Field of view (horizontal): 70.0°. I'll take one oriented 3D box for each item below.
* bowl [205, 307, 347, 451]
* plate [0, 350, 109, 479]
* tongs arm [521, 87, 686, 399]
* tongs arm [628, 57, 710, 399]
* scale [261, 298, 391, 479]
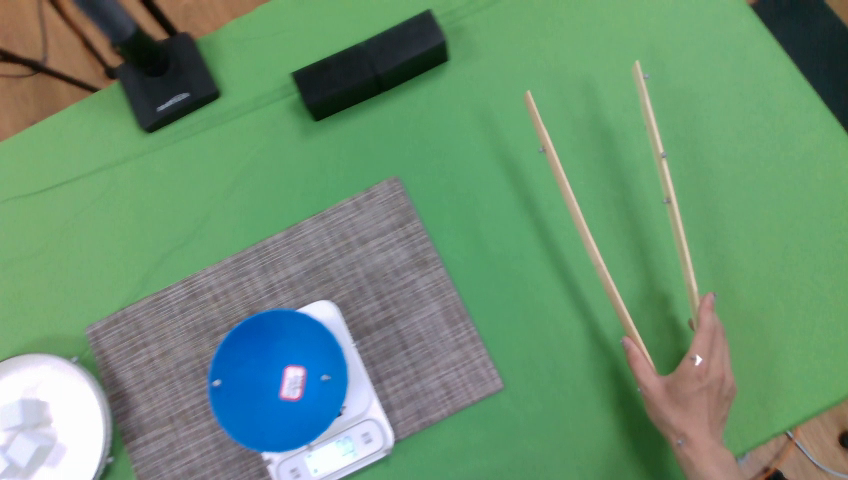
[{"bbox_3d":[-0.153,0.153,0.673,0.151,0.077,0.150,-1,77,4],"label":"bowl"},{"bbox_3d":[-0.480,0.240,0.739,0.207,0.039,0.206,-1,78,5],"label":"plate"},{"bbox_3d":[0.193,0.001,0.681,0.028,0.028,0.386,-23,83,-8],"label":"tongs arm"},{"bbox_3d":[0.263,-0.019,0.683,0.051,0.026,0.383,-13,83,-3],"label":"tongs arm"},{"bbox_3d":[-0.141,0.183,0.720,0.148,0.032,0.200,-26,77,-1],"label":"scale"}]
